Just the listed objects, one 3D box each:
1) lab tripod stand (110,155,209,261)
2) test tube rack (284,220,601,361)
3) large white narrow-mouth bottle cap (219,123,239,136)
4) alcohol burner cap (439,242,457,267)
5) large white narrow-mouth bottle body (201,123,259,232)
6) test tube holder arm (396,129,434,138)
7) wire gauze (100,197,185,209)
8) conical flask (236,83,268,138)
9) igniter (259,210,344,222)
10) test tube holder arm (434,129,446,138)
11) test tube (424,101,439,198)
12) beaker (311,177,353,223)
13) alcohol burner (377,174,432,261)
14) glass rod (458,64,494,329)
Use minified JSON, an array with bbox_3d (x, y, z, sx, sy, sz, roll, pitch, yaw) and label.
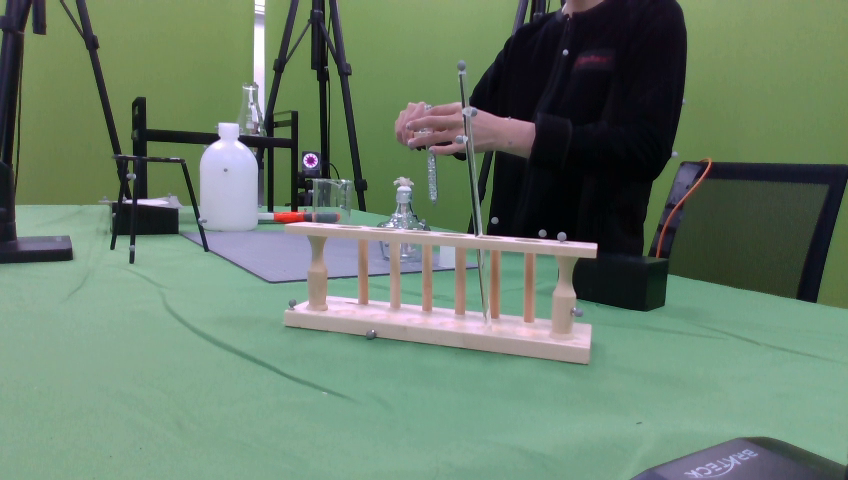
[{"bbox_3d":[-0.361,-0.046,0.806,0.148,0.131,0.148,2,5,0],"label":"lab tripod stand"},{"bbox_3d":[0.013,0.032,0.482,0.242,0.085,0.067,4,7,16],"label":"test tube rack"},{"bbox_3d":[-0.356,-0.201,1.104,0.038,0.024,0.037,2,8,0],"label":"large white narrow-mouth bottle cap"},{"bbox_3d":[0.037,0.011,0.807,0.034,0.048,0.034,5,8,0],"label":"alcohol burner cap"},{"bbox_3d":[-0.358,-0.116,1.116,0.102,0.194,0.102,2,8,0],"label":"large white narrow-mouth bottle body"},{"bbox_3d":[-0.017,-0.177,1.002,0.013,0.015,0.177,-3,10,-20],"label":"test tube holder arm"},{"bbox_3d":[-0.469,-0.062,1.008,0.126,0.011,0.121,-2,8,-25],"label":"wire gauze"},{"bbox_3d":[-0.400,-0.298,1.396,0.075,0.122,0.075,2,8,0],"label":"conical flask"},{"bbox_3d":[-0.303,-0.049,1.258,0.278,0.025,0.057,-2,-2,-28],"label":"igniter"},{"bbox_3d":[0.007,-0.170,0.965,0.010,0.015,0.087,-7,12,-33],"label":"test tube holder arm"},{"bbox_3d":[0.012,-0.141,0.945,0.017,0.150,0.017,-4,8,1],"label":"test tube"},{"bbox_3d":[-0.167,-0.064,1.106,0.074,0.100,0.083,-2,9,-27],"label":"beaker"},{"bbox_3d":[-0.027,-0.031,0.838,0.078,0.119,0.078,0,6,0],"label":"alcohol burner"},{"bbox_3d":[0.039,-0.029,0.449,0.008,0.199,0.008,-7,9,1],"label":"glass rod"}]
